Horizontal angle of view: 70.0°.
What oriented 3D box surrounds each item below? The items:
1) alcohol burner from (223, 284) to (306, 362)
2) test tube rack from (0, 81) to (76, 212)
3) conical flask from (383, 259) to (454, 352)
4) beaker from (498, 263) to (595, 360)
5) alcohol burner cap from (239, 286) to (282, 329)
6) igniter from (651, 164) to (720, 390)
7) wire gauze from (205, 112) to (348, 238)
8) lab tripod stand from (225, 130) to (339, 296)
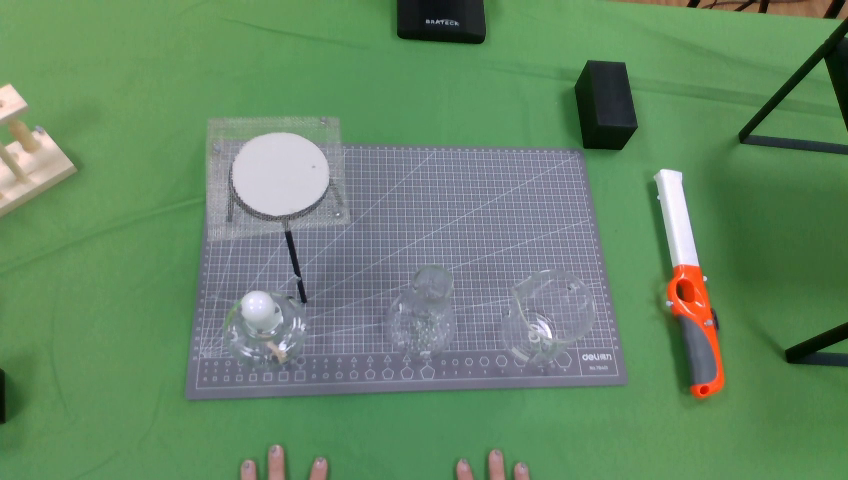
[{"bbox_3d":[-0.151,0.072,0.568,0.078,0.120,0.077,4,63,-8],"label":"alcohol burner"},{"bbox_3d":[-0.490,-0.050,0.598,0.242,0.085,0.066,-40,76,-22],"label":"test tube rack"},{"bbox_3d":[0.000,0.059,0.590,0.075,0.122,0.074,3,64,-6],"label":"conical flask"},{"bbox_3d":[0.115,0.075,0.611,0.084,0.101,0.073,22,64,4],"label":"beaker"},{"bbox_3d":[-0.146,0.058,0.535,0.034,0.048,0.033,1,69,-3],"label":"alcohol burner cap"},{"bbox_3d":[0.298,0.034,0.697,0.057,0.025,0.274,8,64,-16],"label":"igniter"},{"bbox_3d":[-0.135,-0.064,0.548,0.122,0.011,0.124,-5,68,-10],"label":"wire gauze"},{"bbox_3d":[-0.139,-0.032,0.607,0.149,0.132,0.147,4,65,-8],"label":"lab tripod stand"}]
